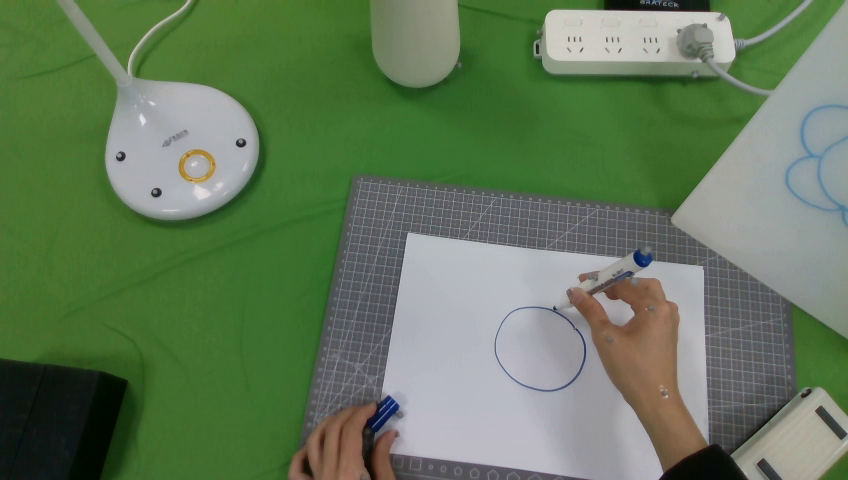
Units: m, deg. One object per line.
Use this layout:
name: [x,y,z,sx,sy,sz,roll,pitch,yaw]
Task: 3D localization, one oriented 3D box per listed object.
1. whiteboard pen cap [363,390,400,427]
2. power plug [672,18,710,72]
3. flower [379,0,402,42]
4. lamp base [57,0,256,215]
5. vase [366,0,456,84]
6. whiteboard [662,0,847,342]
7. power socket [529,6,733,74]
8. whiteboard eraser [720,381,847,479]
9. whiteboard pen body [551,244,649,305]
whiteboard pen cap: [-0.038,0.154,0.553,0.018,0.018,0.033,42,75,15]
power plug: [0.284,-0.205,0.653,0.035,0.053,0.072,11,76,5]
flower: [0.001,-0.267,0.527,0.044,0.361,0.038,-36,90,-21]
lamp base: [-0.271,-0.135,0.578,0.178,0.181,0.160,39,74,17]
vase: [-0.016,-0.247,0.608,0.098,0.201,0.097,-1,69,2]
whiteboard: [0.401,-0.088,0.520,0.216,0.307,0.143,37,53,14]
power socket: [0.235,-0.226,0.685,0.227,0.033,0.071,2,70,1]
whiteboard eraser: [0.316,0.177,0.528,0.112,0.042,0.055,-35,72,-11]
whiteboard pen body: [0.148,0.035,0.532,0.017,0.141,0.017,8,65,-17]
